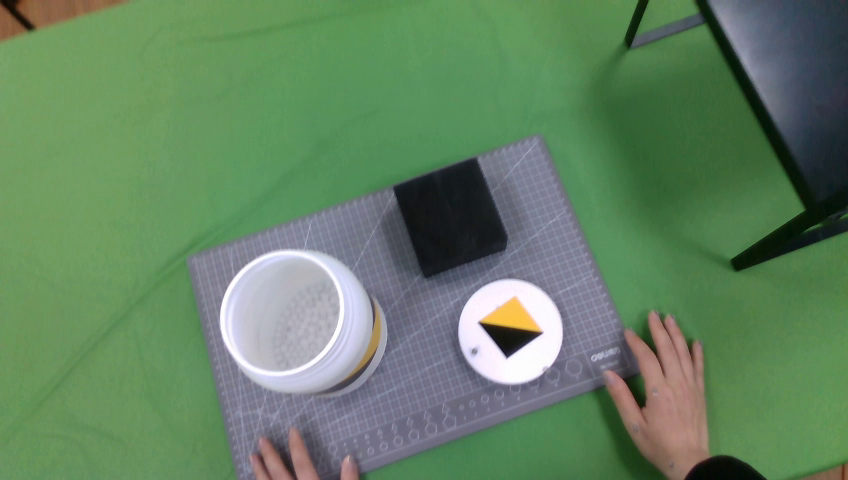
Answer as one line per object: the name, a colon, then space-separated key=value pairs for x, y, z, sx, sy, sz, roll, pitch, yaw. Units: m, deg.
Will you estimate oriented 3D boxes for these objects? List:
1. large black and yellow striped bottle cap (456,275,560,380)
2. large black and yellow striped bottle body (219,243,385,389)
large black and yellow striped bottle cap: x=0.092 y=0.095 z=0.668 sx=0.115 sy=0.019 sz=0.114 roll=-1 pitch=74 yaw=3
large black and yellow striped bottle body: x=-0.114 y=0.078 z=0.600 sx=0.131 sy=0.185 sz=0.130 roll=-1 pitch=75 yaw=4
